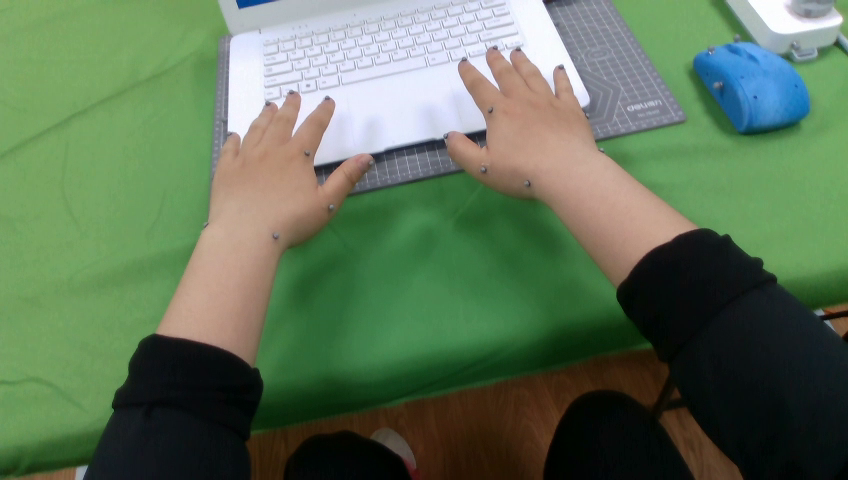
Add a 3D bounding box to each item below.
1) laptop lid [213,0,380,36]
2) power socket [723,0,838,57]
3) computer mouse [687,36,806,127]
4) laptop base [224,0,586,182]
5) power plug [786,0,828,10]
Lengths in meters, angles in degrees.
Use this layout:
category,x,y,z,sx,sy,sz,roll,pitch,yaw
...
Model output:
category,x,y,z,sx,sy,sz,roll,pitch,yaw
laptop lid,-0.076,-0.359,0.633,0.357,0.244,0.013,-14,40,1
power socket,0.351,-0.276,0.640,0.072,0.033,0.224,-10,53,2
computer mouse,0.293,-0.153,0.556,0.063,0.041,0.116,-13,48,3
laptop base,-0.035,-0.179,0.640,0.354,0.023,0.233,-13,56,0
power plug,0.386,-0.235,0.578,0.072,0.053,0.035,-1,57,8
